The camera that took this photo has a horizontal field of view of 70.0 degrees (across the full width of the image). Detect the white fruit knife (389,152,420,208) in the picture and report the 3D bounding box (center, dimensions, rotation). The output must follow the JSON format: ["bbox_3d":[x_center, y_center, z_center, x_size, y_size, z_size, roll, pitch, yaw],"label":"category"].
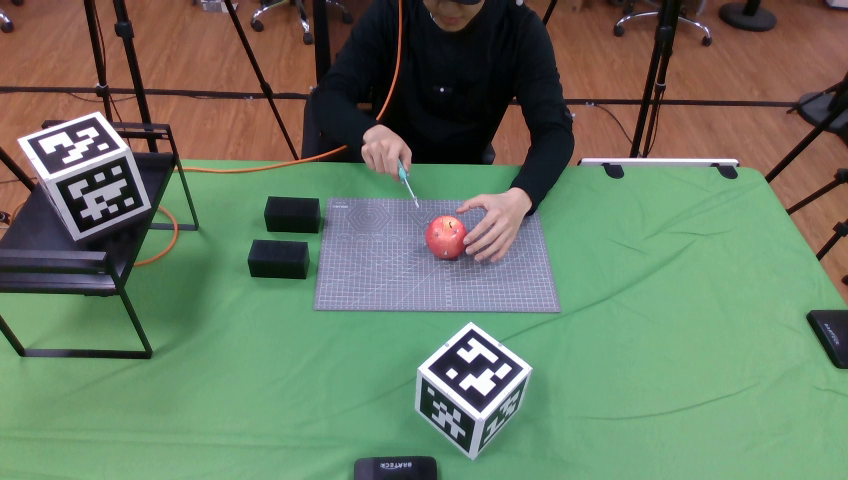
[{"bbox_3d":[-0.035,-0.115,1.127,0.016,0.027,0.206,-21,38,-5],"label":"white fruit knife"}]

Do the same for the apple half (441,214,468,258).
[{"bbox_3d":[0.057,-0.005,1.162,0.053,0.075,0.080,3,42,-7],"label":"apple half"}]

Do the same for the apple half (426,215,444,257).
[{"bbox_3d":[0.019,-0.006,1.158,0.033,0.081,0.081,3,46,-7],"label":"apple half"}]
